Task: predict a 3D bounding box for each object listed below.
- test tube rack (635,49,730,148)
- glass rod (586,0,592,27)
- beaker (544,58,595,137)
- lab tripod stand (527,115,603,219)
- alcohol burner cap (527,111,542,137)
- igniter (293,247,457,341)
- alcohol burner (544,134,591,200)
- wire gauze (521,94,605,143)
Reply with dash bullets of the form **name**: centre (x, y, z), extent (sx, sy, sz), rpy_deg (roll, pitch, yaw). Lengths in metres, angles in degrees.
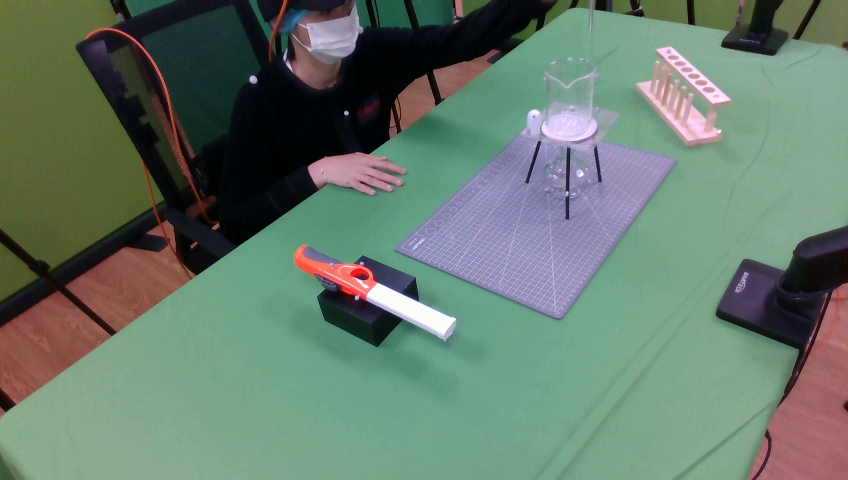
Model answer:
- **test tube rack**: centre (0.497, -0.283, 1.185), extent (0.067, 0.085, 0.240), rpy_deg (-10, 40, -2)
- **glass rod**: centre (0.250, -0.419, 0.890), extent (0.008, 0.200, 0.008), rpy_deg (1, 14, 0)
- **beaker**: centre (0.222, -0.214, 0.926), extent (0.074, 0.101, 0.084), rpy_deg (3, 42, 16)
- **lab tripod stand**: centre (0.234, -0.129, 1.002), extent (0.148, 0.132, 0.147), rpy_deg (-6, 40, 6)
- **alcohol burner cap**: centre (0.221, -0.233, 1.200), extent (0.034, 0.048, 0.033), rpy_deg (-6, 41, 6)
- **igniter**: centre (-0.077, 0.068, 0.830), extent (0.274, 0.025, 0.057), rpy_deg (22, 48, 27)
- **alcohol burner**: centre (0.241, -0.127, 1.014), extent (0.078, 0.119, 0.077), rpy_deg (-5, 42, 5)
- **wire gauze**: centre (0.219, -0.190, 0.949), extent (0.121, 0.011, 0.125), rpy_deg (7, 46, 14)
